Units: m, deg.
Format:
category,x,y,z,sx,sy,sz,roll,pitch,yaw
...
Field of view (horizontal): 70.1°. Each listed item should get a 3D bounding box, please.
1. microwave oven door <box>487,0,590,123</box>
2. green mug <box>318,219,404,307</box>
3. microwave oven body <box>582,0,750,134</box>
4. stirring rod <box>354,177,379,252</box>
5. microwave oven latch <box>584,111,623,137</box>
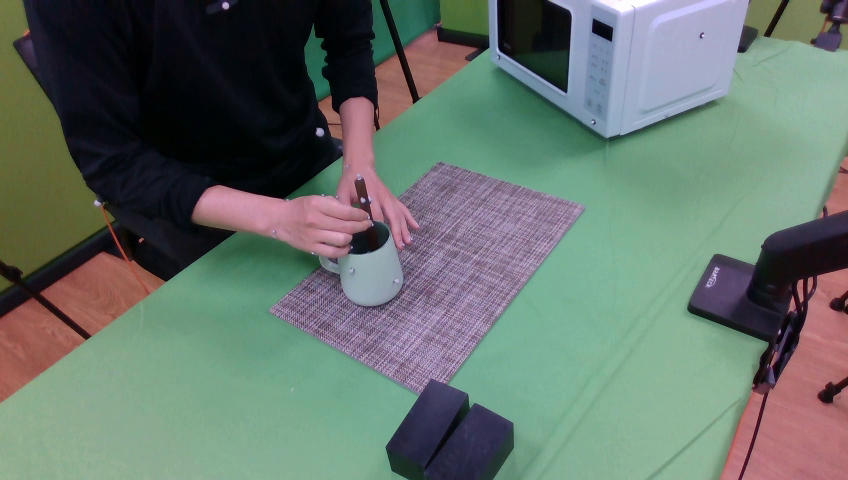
category,x,y,z,sx,sy,sz,roll,pitch,yaw
microwave oven door,0.232,-0.420,1.230,0.039,0.245,0.352,-22,43,-16
green mug,-0.095,0.032,0.876,0.125,0.105,0.092,8,43,17
microwave oven body,0.382,-0.445,1.246,0.327,0.261,0.437,-22,42,-16
stirring rod,-0.075,-0.019,0.835,0.014,0.177,0.005,-25,49,-16
microwave oven latch,0.337,-0.222,1.142,0.030,0.029,0.078,-21,42,-14
